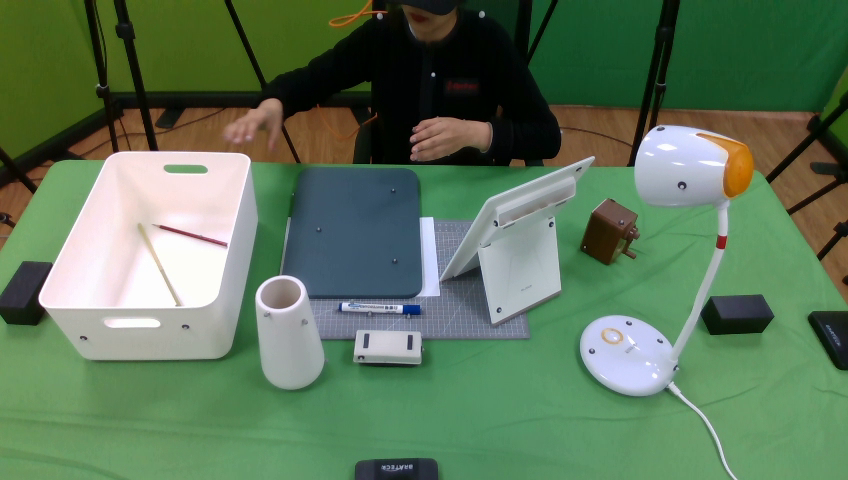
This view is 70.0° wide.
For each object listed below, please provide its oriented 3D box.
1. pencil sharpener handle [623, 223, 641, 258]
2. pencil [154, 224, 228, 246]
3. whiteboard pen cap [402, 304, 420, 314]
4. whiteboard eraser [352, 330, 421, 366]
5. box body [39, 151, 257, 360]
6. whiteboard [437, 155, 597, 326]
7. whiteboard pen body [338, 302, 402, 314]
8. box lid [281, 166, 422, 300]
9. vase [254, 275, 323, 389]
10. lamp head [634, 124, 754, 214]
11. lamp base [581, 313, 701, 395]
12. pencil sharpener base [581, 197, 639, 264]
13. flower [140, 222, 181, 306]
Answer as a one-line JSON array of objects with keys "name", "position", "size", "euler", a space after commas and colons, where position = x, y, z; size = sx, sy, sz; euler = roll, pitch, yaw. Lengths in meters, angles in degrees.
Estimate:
[{"name": "pencil sharpener handle", "position": [0.399, 0.002, 1.146], "size": [0.030, 0.068, 0.036], "euler": [35, 45, 26]}, {"name": "pencil", "position": [-0.439, -0.007, 1.172], "size": [0.194, 0.012, 0.012], "euler": [14, 47, 11]}, {"name": "whiteboard pen cap", "position": [-0.024, 0.123, 1.076], "size": [0.033, 0.018, 0.018], "euler": [1, 46, 1]}, {"name": "whiteboard eraser", "position": [-0.061, 0.180, 1.005], "size": [0.113, 0.042, 0.055], "euler": [3, 48, -3]}, {"name": "box body", "position": [-0.441, 0.022, 1.046], "size": [0.254, 0.161, 0.361], "euler": [0, 46, -5]}, {"name": "whiteboard", "position": [0.180, 0.023, 1.029], "size": [0.217, 0.306, 0.143], "euler": [-21, 71, -23]}, {"name": "whiteboard pen body", "position": [-0.083, 0.121, 1.074], "size": [0.141, 0.017, 0.017], "euler": [3, 46, -2]}, {"name": "box lid", "position": [-0.139, -0.029, 1.219], "size": [0.263, 0.015, 0.369], "euler": [1, 46, -4]}, {"name": "vase", "position": [-0.209, 0.142, 0.921], "size": [0.098, 0.201, 0.097], "euler": [1, 46, -1]}, {"name": "lamp head", "position": [0.351, -0.089, 0.776], "size": [0.112, 0.113, 0.122], "euler": [-30, 30, -28]}, {"name": "lamp base", "position": [0.361, 0.144, 0.972], "size": [0.178, 0.181, 0.160], "euler": [34, 53, 23]}, {"name": "pencil sharpener base", "position": [0.362, -0.016, 1.178], "size": [0.076, 0.107, 0.061], "euler": [35, 53, 26]}, {"name": "flower", "position": [-0.459, 0.074, 1.084], "size": [0.044, 0.038, 0.359], "euler": [-27, 51, -20]}]
